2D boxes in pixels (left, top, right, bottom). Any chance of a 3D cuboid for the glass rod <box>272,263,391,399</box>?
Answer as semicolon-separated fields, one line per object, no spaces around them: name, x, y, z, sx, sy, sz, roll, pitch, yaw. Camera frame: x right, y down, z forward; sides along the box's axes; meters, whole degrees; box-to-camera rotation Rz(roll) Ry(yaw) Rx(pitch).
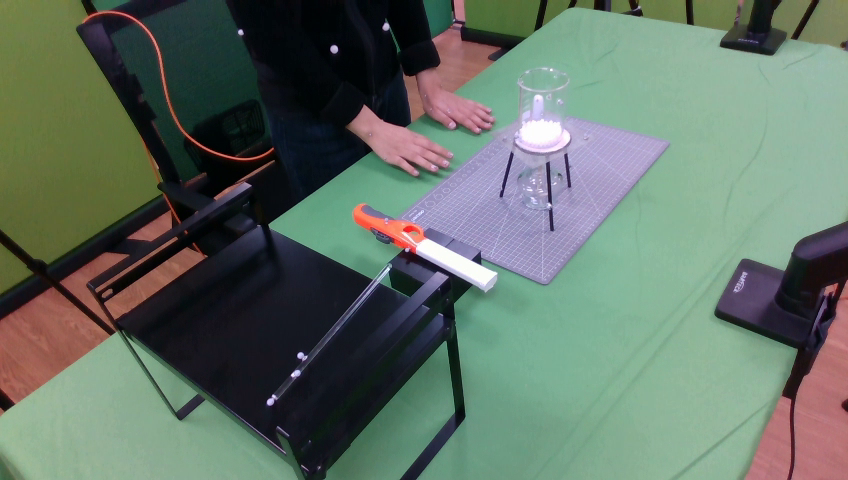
glass rod;-0.088;0.086;0.618;0.008;0.008;0.200;17;45;26

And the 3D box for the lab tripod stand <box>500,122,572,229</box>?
lab tripod stand;0.194;-0.110;0.985;0.148;0.132;0.147;-3;42;3

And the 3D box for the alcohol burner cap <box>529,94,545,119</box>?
alcohol burner cap;0.233;-0.277;1.247;0.034;0.048;0.033;-5;41;5

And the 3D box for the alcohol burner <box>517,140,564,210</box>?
alcohol burner;0.193;-0.110;1.001;0.078;0.119;0.077;-5;38;5

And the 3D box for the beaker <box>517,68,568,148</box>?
beaker;0.179;-0.198;0.914;0.073;0.100;0.084;25;49;31

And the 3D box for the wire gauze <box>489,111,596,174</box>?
wire gauze;0.183;-0.159;0.943;0.122;0.011;0.124;-25;47;-17

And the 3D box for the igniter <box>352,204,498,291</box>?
igniter;-0.009;0.005;0.895;0.274;0.025;0.057;27;48;32
